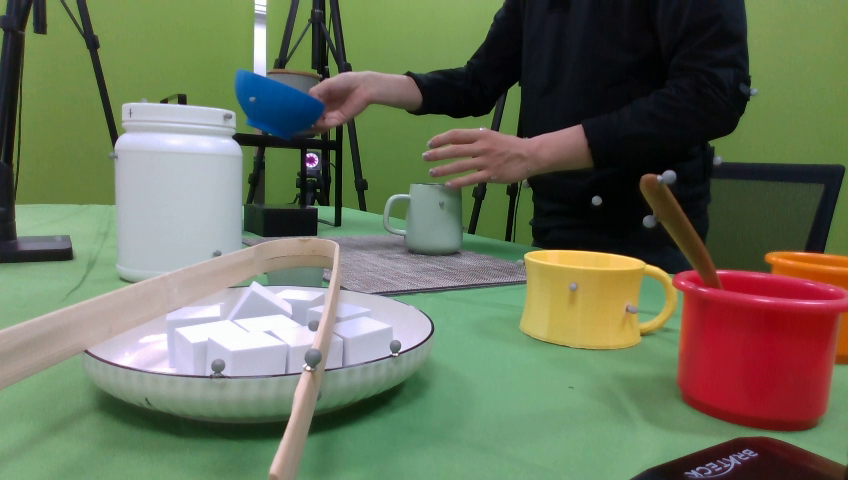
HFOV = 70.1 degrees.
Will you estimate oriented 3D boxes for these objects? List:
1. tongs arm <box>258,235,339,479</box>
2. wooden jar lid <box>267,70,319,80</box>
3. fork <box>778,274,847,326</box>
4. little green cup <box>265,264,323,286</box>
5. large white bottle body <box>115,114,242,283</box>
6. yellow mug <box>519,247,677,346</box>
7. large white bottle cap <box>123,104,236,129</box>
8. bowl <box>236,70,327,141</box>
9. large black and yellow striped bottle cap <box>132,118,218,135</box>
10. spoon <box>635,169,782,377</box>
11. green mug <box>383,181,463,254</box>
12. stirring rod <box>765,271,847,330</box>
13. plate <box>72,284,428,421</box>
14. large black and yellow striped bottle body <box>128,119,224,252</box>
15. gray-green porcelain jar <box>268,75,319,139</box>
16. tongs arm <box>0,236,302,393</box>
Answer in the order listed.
[{"bbox_3d":[-0.074,0.040,0.345,0.051,0.026,0.384,-1,10,-3],"label":"tongs arm"},{"bbox_3d":[-0.275,-0.340,1.271,0.108,0.020,0.108,5,6,0],"label":"wooden jar lid"},{"bbox_3d":[0.332,0.019,0.443,0.028,0.018,0.207,-3,-35,-16],"label":"fork"},{"bbox_3d":[-0.134,0.033,0.628,0.061,0.038,0.061,3,7,0],"label":"little green cup"},{"bbox_3d":[-0.270,-0.051,0.673,0.131,0.184,0.130,2,8,0],"label":"large white bottle body"},{"bbox_3d":[0.148,0.045,0.513,0.131,0.064,0.100,3,6,0],"label":"yellow mug"},{"bbox_3d":[-0.266,-0.134,0.663,0.115,0.018,0.115,3,7,0],"label":"large white bottle cap"},{"bbox_3d":[-0.244,-0.214,1.002,0.151,0.077,0.151,19,1,0],"label":"bowl"},{"bbox_3d":[-0.359,-0.164,0.875,0.115,0.019,0.115,2,6,0],"label":"large black and yellow striped bottle cap"},{"bbox_3d":[0.161,0.026,0.346,0.021,0.194,0.041,-51,32,-19],"label":"spoon"},{"bbox_3d":[-0.001,-0.036,0.922,0.126,0.105,0.092,0,8,-16],"label":"green mug"},{"bbox_3d":[0.352,0.020,0.481,0.176,0.006,0.014,-40,-8,17],"label":"stirring rod"},{"bbox_3d":[-0.102,0.067,0.381,0.208,0.039,0.207,3,7,0],"label":"plate"},{"bbox_3d":[-0.361,-0.081,0.887,0.131,0.184,0.130,2,8,0],"label":"large black and yellow striped bottle body"},{"bbox_3d":[-0.277,-0.279,1.280,0.106,0.126,0.106,2,8,0],"label":"gray-green porcelain jar"},{"bbox_3d":[-0.157,0.038,0.347,0.028,0.028,0.388,-3,8,11],"label":"tongs arm"}]
